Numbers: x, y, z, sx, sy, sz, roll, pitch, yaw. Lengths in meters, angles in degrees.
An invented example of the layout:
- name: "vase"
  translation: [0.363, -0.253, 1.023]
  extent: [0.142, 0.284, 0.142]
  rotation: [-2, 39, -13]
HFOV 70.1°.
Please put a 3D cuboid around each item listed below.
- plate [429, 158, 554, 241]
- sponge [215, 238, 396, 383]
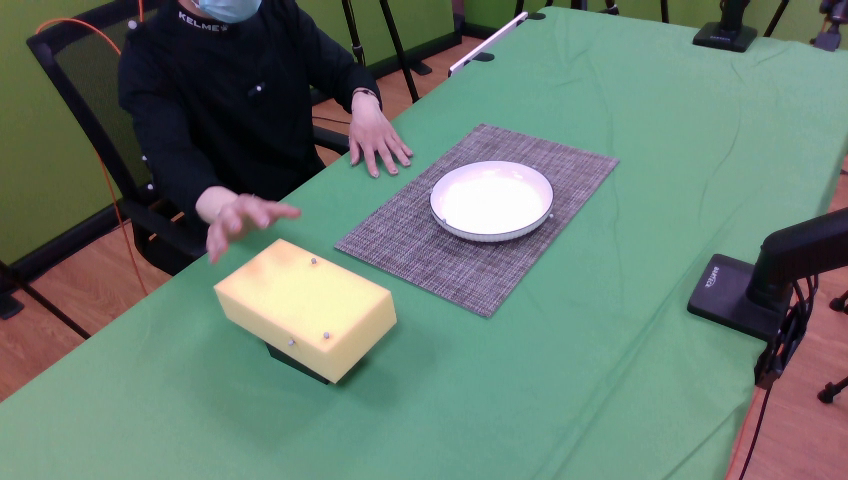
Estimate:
- name: "plate"
  translation: [0.112, -0.065, 1.011]
  extent: [0.207, 0.039, 0.206]
  rotation: [-4, 41, 4]
- name: "sponge"
  translation: [-0.154, 0.084, 0.787]
  extent: [0.205, 0.061, 0.118]
  rotation: [23, 49, 29]
